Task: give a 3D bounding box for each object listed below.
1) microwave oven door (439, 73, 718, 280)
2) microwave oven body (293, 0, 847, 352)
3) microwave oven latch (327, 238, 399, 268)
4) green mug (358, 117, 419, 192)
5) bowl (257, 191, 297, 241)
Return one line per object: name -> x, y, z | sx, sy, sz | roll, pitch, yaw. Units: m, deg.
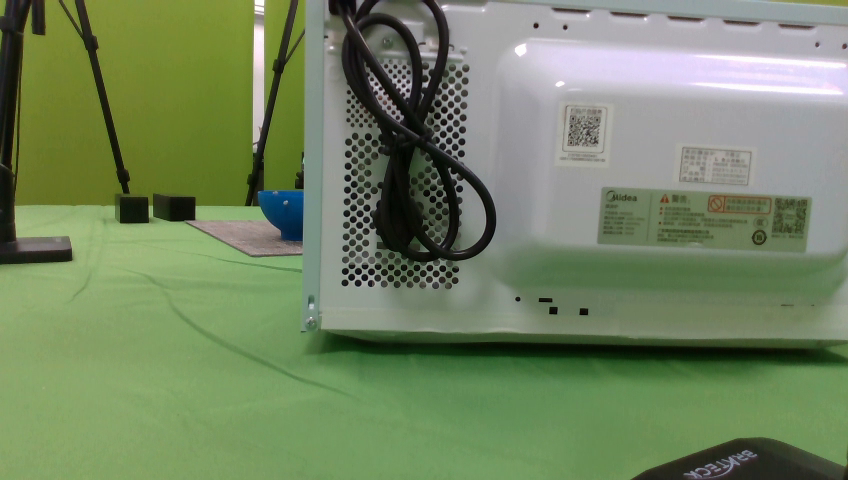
microwave oven door -> 0.184, -0.090, 0.802 | 0.354, 0.243, 0.039 | 7, 8, 33
microwave oven body -> 0.122, -0.055, 0.550 | 0.442, 0.260, 0.325 | 3, 7, -5
microwave oven latch -> -0.069, 0.015, 0.694 | 0.079, 0.029, 0.030 | 3, 7, -3
green mug -> -0.054, -0.129, 0.935 | 0.093, 0.105, 0.125 | 4, 3, -8
bowl -> -0.206, -0.041, 1.027 | 0.151, 0.077, 0.151 | 3, 8, 0
